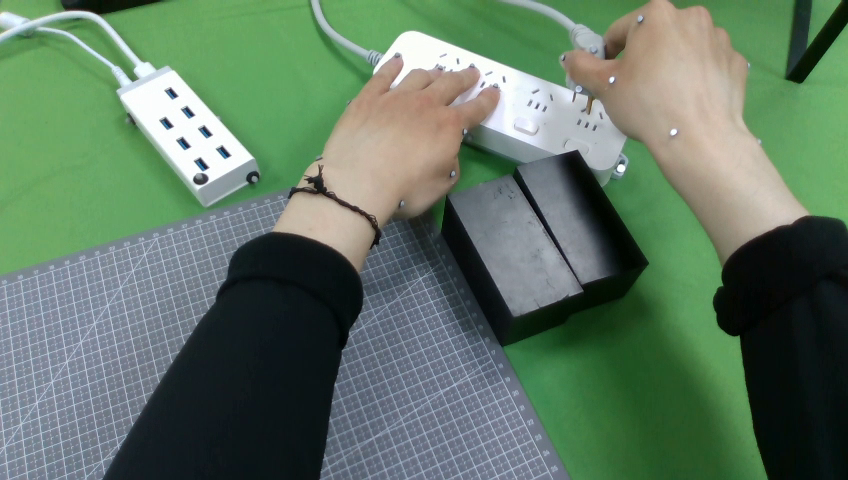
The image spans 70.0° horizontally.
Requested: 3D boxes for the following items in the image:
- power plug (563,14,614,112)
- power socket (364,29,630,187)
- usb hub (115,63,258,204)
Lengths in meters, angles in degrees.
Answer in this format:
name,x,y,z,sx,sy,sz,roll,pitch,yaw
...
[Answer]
name,x,y,z,sx,sy,sz,roll,pitch,yaw
power plug,0.124,-0.136,0.466,0.035,0.053,0.072,4,44,2
power socket,0.061,-0.111,0.498,0.226,0.033,0.072,24,60,11
usb hub,-0.185,-0.085,0.469,0.049,0.025,0.124,-36,68,-22
